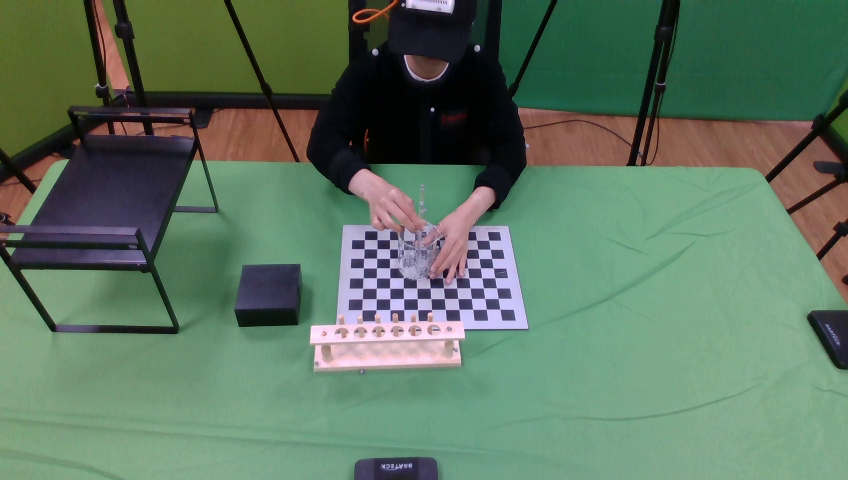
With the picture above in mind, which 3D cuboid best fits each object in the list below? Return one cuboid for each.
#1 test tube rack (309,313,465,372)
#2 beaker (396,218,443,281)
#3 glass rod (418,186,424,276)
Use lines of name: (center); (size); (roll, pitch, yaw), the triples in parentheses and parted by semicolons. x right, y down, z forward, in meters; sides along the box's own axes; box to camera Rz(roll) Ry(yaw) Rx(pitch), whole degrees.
test tube rack: (-0.059, 0.161, 0.990); (0.242, 0.085, 0.066); (-1, 46, -5)
beaker: (-0.010, 0.020, 1.115); (0.084, 0.101, 0.073); (2, 46, -3)
glass rod: (-0.005, -0.010, 1.064); (0.008, 0.200, 0.008); (1, 39, -1)
